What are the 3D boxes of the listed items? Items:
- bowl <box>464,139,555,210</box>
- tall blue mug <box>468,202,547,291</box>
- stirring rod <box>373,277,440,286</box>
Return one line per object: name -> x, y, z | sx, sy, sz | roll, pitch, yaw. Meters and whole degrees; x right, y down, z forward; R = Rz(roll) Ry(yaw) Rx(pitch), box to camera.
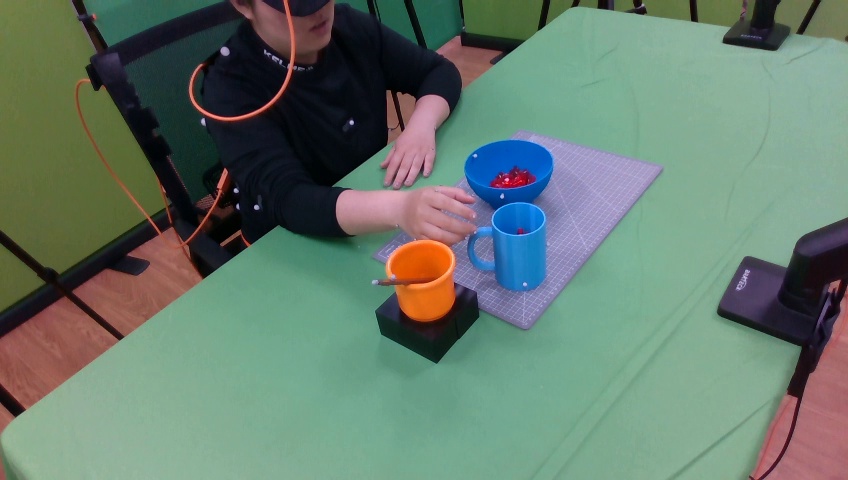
bowl -> 0.145, -0.100, 1.025 | 0.151, 0.077, 0.150 | -5, 40, 5
tall blue mug -> 0.125, 0.015, 0.869 | 0.107, 0.108, 0.077 | -21, 42, -13
stirring rod -> -0.018, 0.051, 0.758 | 0.014, 0.006, 0.177 | 13, 3, 23
